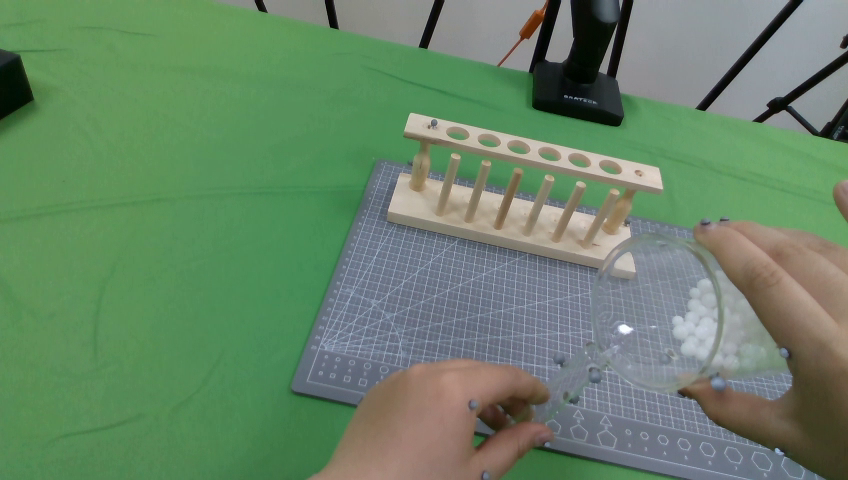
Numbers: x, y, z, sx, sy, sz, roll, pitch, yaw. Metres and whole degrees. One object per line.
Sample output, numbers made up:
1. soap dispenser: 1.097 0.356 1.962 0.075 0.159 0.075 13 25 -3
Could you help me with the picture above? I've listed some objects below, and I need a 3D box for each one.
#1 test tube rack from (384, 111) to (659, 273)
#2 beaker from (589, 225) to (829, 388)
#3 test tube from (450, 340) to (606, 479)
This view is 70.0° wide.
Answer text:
1. test tube rack: 0.091 -0.045 0.580 0.242 0.086 0.066 13 43 -1
2. beaker: 0.145 0.036 0.310 0.101 0.084 0.073 3 53 -30
3. test tube: 0.055 0.108 0.356 0.017 0.151 0.017 21 37 -17
